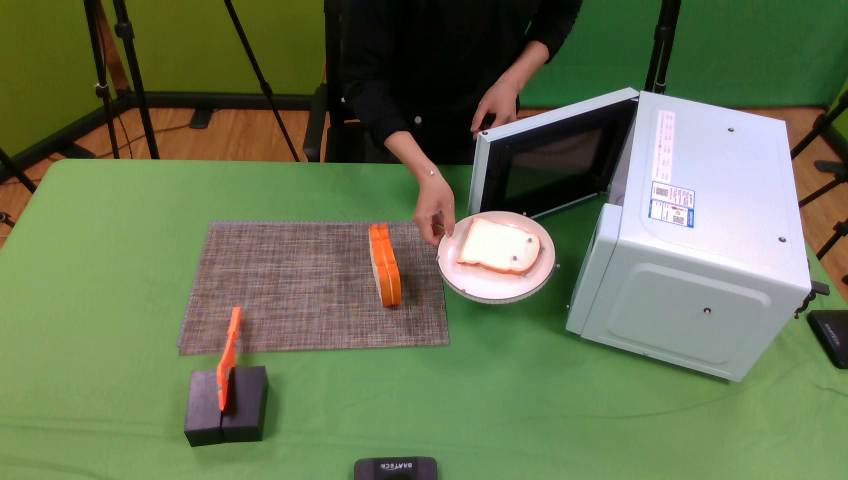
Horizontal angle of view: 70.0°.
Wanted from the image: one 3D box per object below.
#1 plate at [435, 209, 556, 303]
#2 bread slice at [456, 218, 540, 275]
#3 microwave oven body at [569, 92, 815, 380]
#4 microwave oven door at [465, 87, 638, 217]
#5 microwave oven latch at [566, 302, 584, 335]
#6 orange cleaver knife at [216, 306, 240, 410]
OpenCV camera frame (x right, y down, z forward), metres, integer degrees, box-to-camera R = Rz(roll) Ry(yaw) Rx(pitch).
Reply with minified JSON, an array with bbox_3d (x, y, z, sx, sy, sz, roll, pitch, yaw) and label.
[{"bbox_3d":[0.124,0.030,1.058,0.207,0.039,0.206,-4,47,5],"label":"plate"},{"bbox_3d":[0.136,0.013,1.070,0.134,0.018,0.106,10,53,16],"label":"bread slice"},{"bbox_3d":[0.468,-0.022,1.082,0.325,0.261,0.440,15,46,11],"label":"microwave oven body"},{"bbox_3d":[0.248,-0.151,1.184,0.356,0.245,0.039,-20,51,-22],"label":"microwave oven door"},{"bbox_3d":[0.268,0.126,1.059,0.030,0.029,0.079,16,46,12],"label":"microwave oven latch"},{"bbox_3d":[-0.307,0.180,0.957,0.012,0.077,0.210,-2,25,-8],"label":"orange cleaver knife"}]
